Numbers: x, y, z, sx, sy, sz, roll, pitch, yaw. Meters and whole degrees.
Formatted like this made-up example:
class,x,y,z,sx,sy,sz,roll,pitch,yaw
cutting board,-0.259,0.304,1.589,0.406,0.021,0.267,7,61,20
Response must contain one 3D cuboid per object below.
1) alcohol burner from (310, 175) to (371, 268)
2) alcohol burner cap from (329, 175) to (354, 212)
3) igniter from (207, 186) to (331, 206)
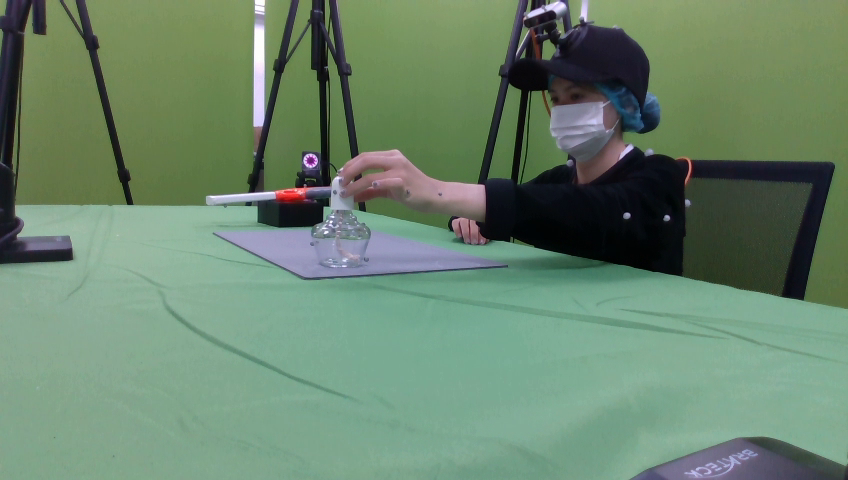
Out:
class,x,y,z,sx,sy,sz,roll,pitch,yaw
alcohol burner,-0.107,-0.024,0.778,0.078,0.119,0.078,3,5,0
alcohol burner cap,-0.106,-0.060,0.774,0.034,0.048,0.034,1,2,0
igniter,-0.300,-0.091,1.241,0.278,0.025,0.057,-8,11,-35
